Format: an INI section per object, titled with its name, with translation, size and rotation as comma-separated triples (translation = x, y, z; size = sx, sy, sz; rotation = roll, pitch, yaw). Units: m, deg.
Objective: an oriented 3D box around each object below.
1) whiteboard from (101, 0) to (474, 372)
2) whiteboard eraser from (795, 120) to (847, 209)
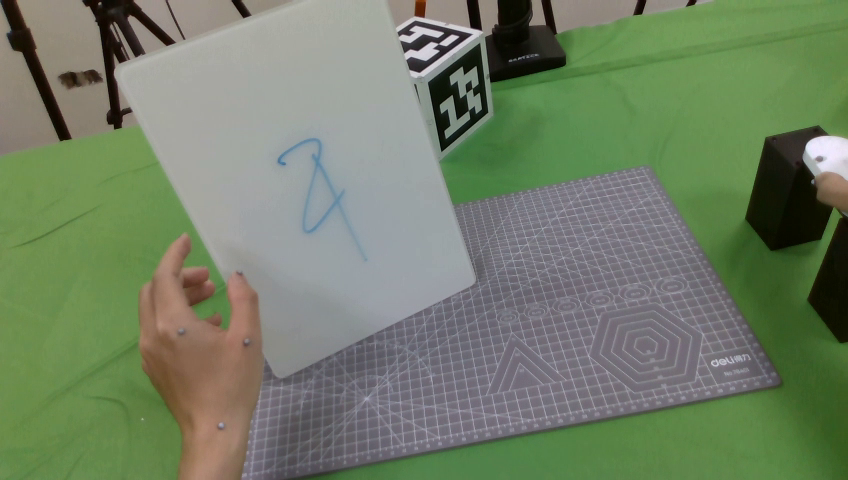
[whiteboard]
translation = -0.114, -0.072, 0.583
size = 0.217, 0.308, 0.142
rotation = -26, 27, -11
[whiteboard eraser]
translation = 0.335, -0.063, 0.486
size = 0.041, 0.019, 0.100
rotation = -7, 46, 5
